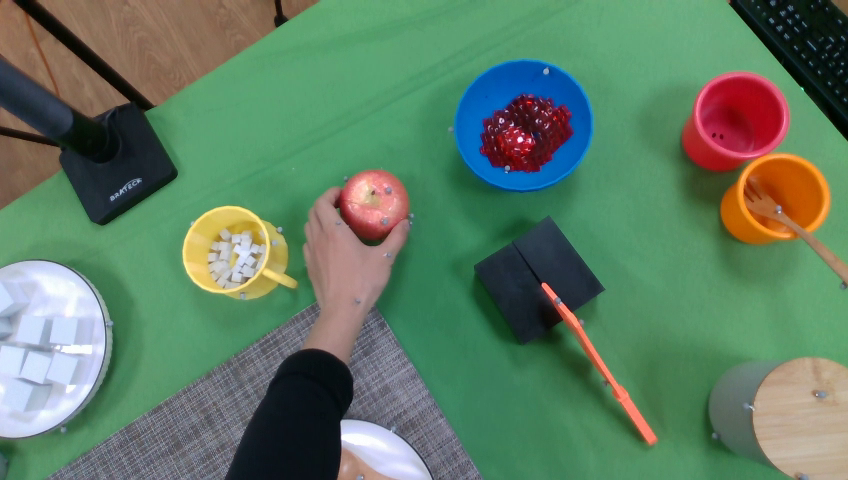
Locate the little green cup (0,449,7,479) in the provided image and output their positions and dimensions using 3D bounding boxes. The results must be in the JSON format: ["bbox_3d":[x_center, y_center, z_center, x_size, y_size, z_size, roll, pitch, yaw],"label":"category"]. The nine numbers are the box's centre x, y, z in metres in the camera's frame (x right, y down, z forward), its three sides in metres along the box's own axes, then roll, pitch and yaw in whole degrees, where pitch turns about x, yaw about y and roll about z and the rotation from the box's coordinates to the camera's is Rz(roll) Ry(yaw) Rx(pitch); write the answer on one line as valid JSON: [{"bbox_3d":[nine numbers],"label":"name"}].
[{"bbox_3d":[-0.521,0.266,0.701,0.061,0.039,0.061,-1,80,3],"label":"little green cup"}]

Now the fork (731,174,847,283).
[{"bbox_3d":[0.373,-0.010,0.607,0.028,0.019,0.205,-11,35,-3],"label":"fork"}]

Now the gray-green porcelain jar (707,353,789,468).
[{"bbox_3d":[0.345,0.164,0.591,0.106,0.127,0.105,-1,79,6],"label":"gray-green porcelain jar"}]

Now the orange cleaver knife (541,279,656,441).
[{"bbox_3d":[0.182,0.126,0.632,0.012,0.076,0.213,-35,111,3],"label":"orange cleaver knife"}]

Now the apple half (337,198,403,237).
[{"bbox_3d":[-0.063,-0.018,0.689,0.081,0.082,0.032,12,76,8],"label":"apple half"}]

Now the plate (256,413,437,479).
[{"bbox_3d":[-0.083,0.292,0.651,0.209,0.038,0.208,-1,80,5],"label":"plate"}]

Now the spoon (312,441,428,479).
[{"bbox_3d":[-0.029,0.252,0.640,0.193,0.022,0.041,8,75,19],"label":"spoon"}]

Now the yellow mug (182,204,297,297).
[{"bbox_3d":[-0.204,0.021,0.701,0.130,0.064,0.100,27,83,9],"label":"yellow mug"}]

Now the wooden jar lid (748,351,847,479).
[{"bbox_3d":[0.338,0.152,0.531,0.108,0.021,0.108,-1,82,4],"label":"wooden jar lid"}]

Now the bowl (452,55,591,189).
[{"bbox_3d":[0.108,-0.123,0.689,0.151,0.077,0.151,-1,80,5],"label":"bowl"}]

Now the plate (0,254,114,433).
[{"bbox_3d":[-0.464,0.121,0.722,0.207,0.039,0.207,-1,80,6],"label":"plate"}]

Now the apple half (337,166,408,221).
[{"bbox_3d":[-0.054,-0.056,0.696,0.080,0.075,0.053,11,78,11],"label":"apple half"}]
